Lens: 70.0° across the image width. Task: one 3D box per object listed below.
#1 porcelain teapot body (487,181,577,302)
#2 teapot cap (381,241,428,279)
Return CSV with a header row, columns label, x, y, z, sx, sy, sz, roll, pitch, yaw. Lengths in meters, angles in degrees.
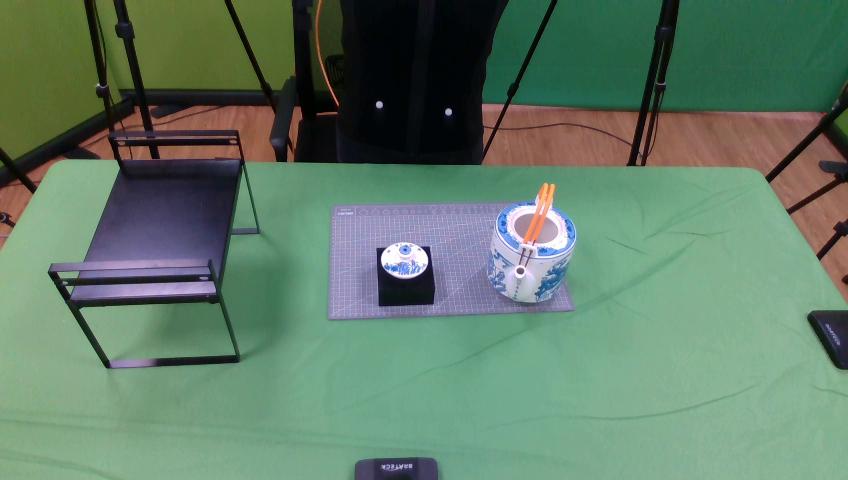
label,x,y,z,sx,sy,sz,roll,pitch,yaw
porcelain teapot body,0.185,0.018,1.048,0.145,0.226,0.204,15,48,10
teapot cap,-0.034,0.031,1.075,0.085,0.044,0.084,2,49,-2
